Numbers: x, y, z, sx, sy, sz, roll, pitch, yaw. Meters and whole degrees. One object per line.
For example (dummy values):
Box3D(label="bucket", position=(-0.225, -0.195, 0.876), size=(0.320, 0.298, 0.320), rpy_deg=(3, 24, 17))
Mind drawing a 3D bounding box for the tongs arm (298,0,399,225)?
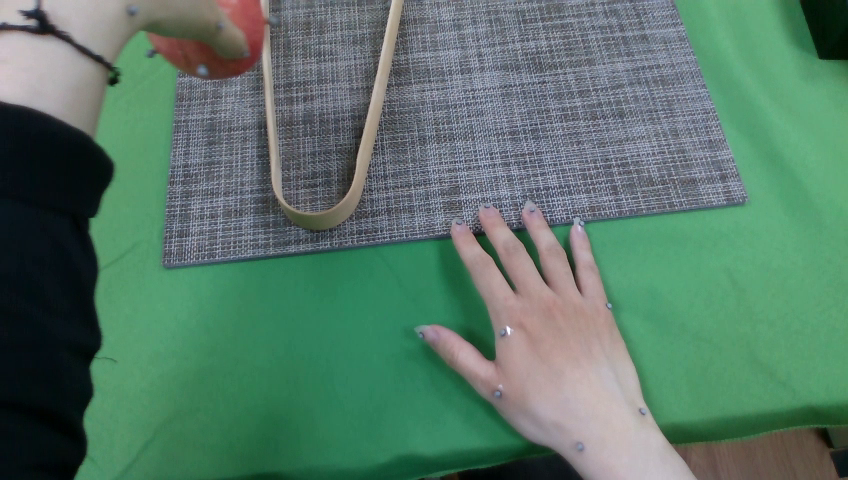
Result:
Box3D(label="tongs arm", position=(-0.050, -0.189, 0.530), size=(0.051, 0.027, 0.382), rpy_deg=(5, 66, 3))

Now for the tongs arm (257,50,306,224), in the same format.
Box3D(label="tongs arm", position=(-0.134, -0.187, 0.533), size=(0.028, 0.028, 0.384), rpy_deg=(-7, 65, -6))

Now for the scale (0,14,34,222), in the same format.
Box3D(label="scale", position=(-0.404, -0.096, 0.499), size=(0.149, 0.032, 0.199), rpy_deg=(-11, 66, -3))

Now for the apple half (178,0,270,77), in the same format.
Box3D(label="apple half", position=(-0.138, -0.158, 0.430), size=(0.053, 0.075, 0.080), rpy_deg=(-8, 64, -4))

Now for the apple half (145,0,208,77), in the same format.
Box3D(label="apple half", position=(-0.176, -0.151, 0.428), size=(0.033, 0.082, 0.080), rpy_deg=(-8, 65, -3))
